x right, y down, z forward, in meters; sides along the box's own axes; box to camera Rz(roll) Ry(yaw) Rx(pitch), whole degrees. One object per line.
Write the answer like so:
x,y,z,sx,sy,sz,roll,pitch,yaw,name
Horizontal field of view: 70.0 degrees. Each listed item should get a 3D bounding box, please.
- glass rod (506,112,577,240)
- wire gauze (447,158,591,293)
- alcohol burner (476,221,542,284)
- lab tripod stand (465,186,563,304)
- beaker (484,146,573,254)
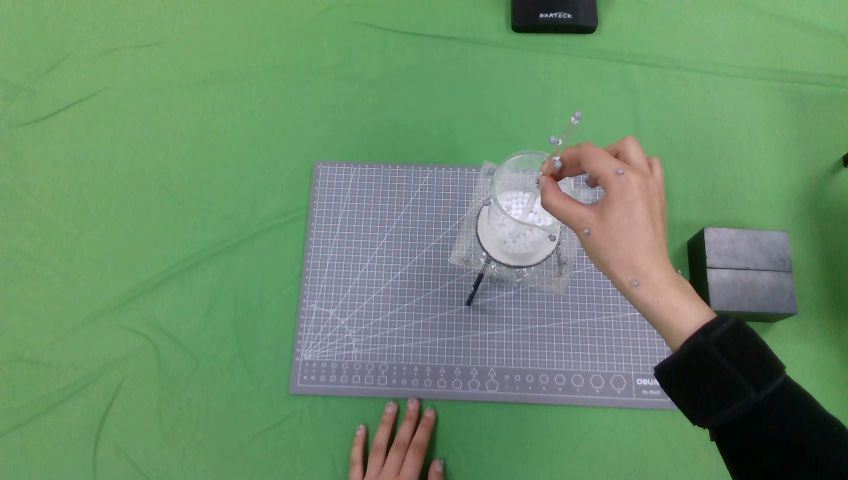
0.096,-0.046,0.523,0.008,0.201,0.008,3,64,-6,glass rod
0.101,-0.017,0.626,0.121,0.011,0.124,19,71,5,wire gauze
0.099,0.010,0.698,0.078,0.120,0.077,0,73,2,alcohol burner
0.095,0.002,0.690,0.148,0.132,0.147,-1,72,2,lab tripod stand
0.097,-0.031,0.581,0.074,0.101,0.083,-25,73,-7,beaker
